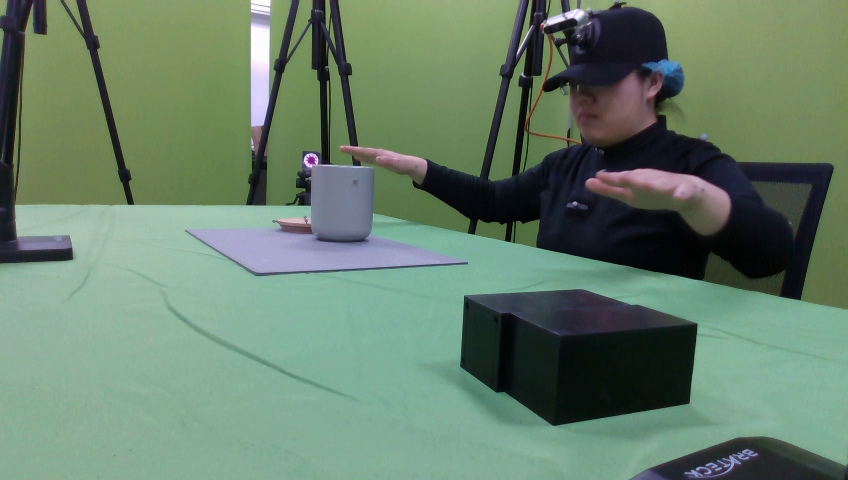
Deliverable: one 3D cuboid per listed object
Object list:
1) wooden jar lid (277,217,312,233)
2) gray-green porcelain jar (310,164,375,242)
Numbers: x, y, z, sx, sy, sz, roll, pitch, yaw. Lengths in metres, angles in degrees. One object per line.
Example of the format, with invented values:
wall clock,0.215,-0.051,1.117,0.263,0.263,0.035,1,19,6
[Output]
wooden jar lid,-0.221,-0.028,1.138,0.108,0.020,0.108,2,8,0
gray-green porcelain jar,-0.139,-0.063,1.025,0.106,0.126,0.106,3,8,0
